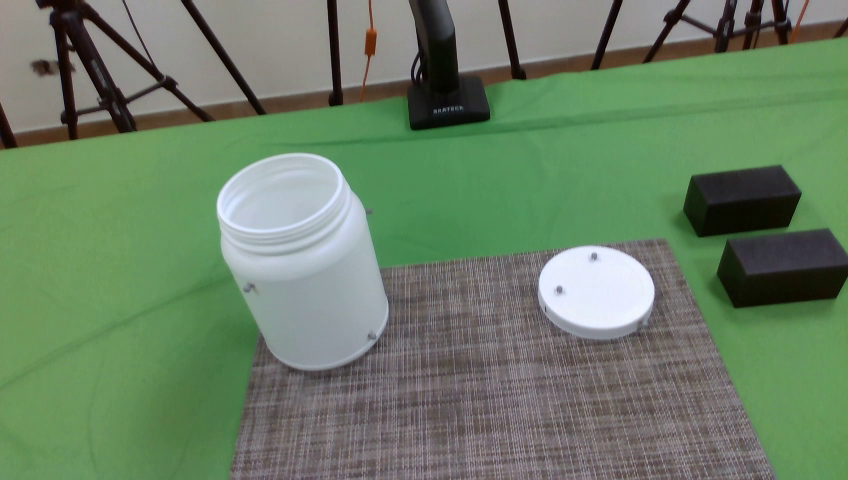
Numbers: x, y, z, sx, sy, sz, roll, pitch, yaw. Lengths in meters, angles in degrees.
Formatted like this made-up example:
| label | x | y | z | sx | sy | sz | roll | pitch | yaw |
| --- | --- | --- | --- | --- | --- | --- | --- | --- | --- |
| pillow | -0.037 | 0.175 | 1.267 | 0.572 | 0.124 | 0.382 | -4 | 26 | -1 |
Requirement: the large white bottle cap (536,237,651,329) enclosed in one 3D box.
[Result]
| label | x | y | z | sx | sy | sz | roll | pitch | yaw |
| --- | --- | --- | --- | --- | --- | --- | --- | --- | --- |
| large white bottle cap | 0.173 | 0.041 | 0.623 | 0.115 | 0.018 | 0.113 | -4 | 45 | 4 |

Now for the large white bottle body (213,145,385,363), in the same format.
| label | x | y | z | sx | sy | sz | roll | pitch | yaw |
| --- | --- | --- | --- | --- | --- | --- | --- | --- | --- |
| large white bottle body | -0.114 | 0.015 | 0.576 | 0.130 | 0.186 | 0.129 | -5 | 44 | 5 |
